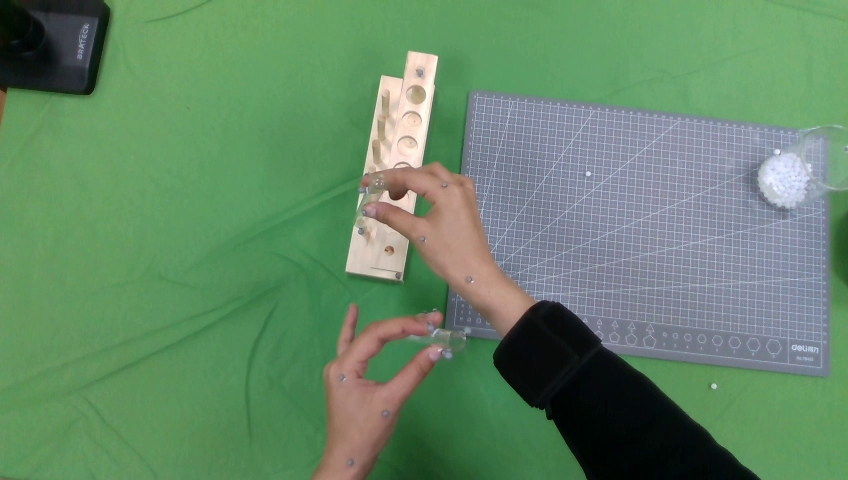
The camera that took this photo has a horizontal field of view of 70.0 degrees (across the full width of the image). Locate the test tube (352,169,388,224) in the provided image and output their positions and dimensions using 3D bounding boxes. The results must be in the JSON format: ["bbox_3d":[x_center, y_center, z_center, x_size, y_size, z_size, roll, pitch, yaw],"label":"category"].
[{"bbox_3d":[-0.052,-0.038,0.563,0.017,0.150,0.017,3,78,-12],"label":"test tube"}]

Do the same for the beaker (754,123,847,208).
[{"bbox_3d":[0.433,-0.083,0.692,0.084,0.100,0.074,44,81,7],"label":"beaker"}]

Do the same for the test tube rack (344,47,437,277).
[{"bbox_3d":[-0.038,-0.086,0.679,0.067,0.085,0.241,10,80,-1],"label":"test tube rack"}]

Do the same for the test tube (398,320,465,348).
[{"bbox_3d":[0.002,0.078,0.510,0.017,0.150,0.017,2,84,-17],"label":"test tube"}]
